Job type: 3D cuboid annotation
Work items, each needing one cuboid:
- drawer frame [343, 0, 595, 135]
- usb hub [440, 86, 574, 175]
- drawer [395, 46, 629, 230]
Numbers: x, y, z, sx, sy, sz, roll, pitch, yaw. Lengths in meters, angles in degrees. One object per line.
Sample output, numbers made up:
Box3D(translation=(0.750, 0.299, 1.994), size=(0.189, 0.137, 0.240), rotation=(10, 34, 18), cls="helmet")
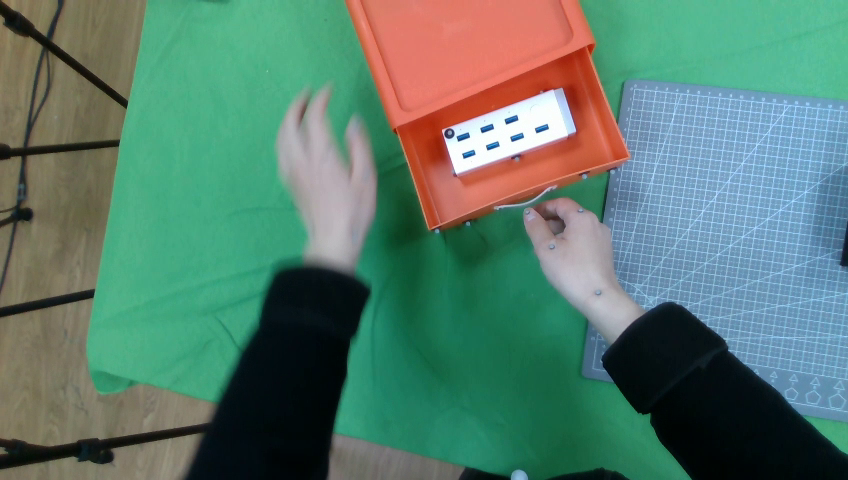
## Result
Box3D(translation=(0.029, -0.234, 0.588), size=(0.201, 0.083, 0.213), rotation=(-22, 86, 9), cls="drawer frame")
Box3D(translation=(0.082, -0.109, 0.604), size=(0.125, 0.025, 0.049), rotation=(-18, 85, 7), cls="usb hub")
Box3D(translation=(0.065, -0.137, 0.587), size=(0.194, 0.073, 0.211), rotation=(-20, 86, 9), cls="drawer")
